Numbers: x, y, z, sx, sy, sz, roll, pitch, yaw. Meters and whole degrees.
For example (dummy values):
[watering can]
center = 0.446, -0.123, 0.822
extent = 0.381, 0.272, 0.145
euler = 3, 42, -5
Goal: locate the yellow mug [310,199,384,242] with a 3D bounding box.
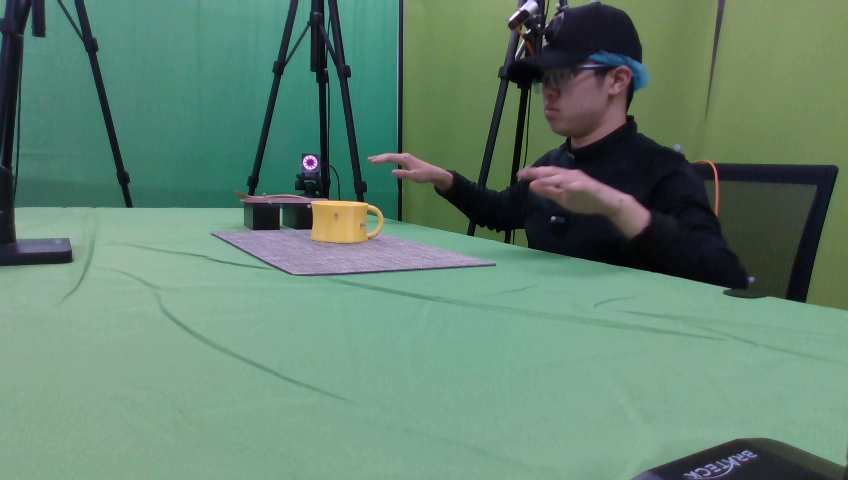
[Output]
[yellow mug]
center = -0.132, -0.035, 1.054
extent = 0.131, 0.064, 0.099
euler = 0, 8, -23

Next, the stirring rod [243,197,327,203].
[stirring rod]
center = -0.271, -0.079, 1.201
extent = 0.177, 0.006, 0.014
euler = -3, 47, -36

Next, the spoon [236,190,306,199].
[spoon]
center = -0.290, -0.088, 1.248
extent = 0.195, 0.021, 0.041
euler = 0, 5, -32
